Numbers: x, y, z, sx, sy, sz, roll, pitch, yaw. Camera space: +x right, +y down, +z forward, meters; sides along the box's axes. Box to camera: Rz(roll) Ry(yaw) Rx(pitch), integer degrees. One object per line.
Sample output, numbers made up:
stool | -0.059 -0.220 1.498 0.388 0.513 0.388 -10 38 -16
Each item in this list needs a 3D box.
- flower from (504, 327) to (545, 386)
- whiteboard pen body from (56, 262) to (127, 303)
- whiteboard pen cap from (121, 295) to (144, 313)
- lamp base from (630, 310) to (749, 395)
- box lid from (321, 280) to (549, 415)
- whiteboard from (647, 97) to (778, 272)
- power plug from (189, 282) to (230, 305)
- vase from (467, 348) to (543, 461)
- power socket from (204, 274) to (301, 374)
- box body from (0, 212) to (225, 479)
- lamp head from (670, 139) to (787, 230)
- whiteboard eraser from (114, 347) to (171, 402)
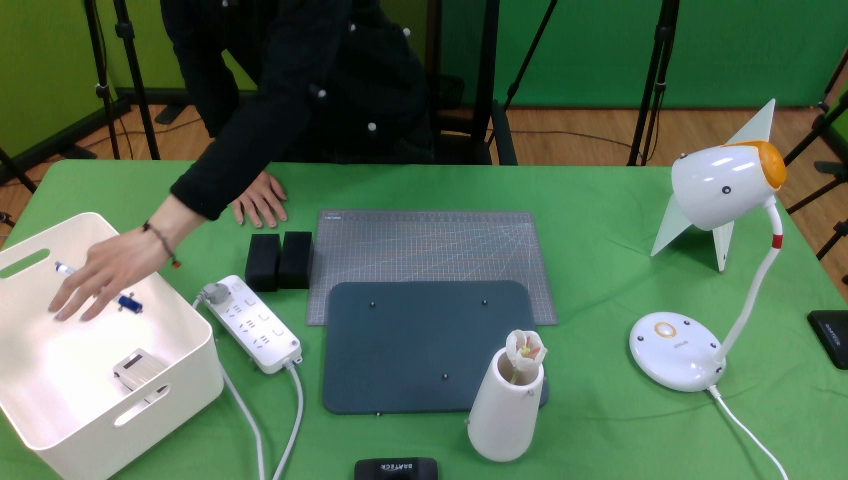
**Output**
flower | 0.114 0.189 0.790 0.044 0.363 0.038 33 69 18
whiteboard pen body | -0.483 0.068 0.899 0.140 0.017 0.017 25 49 6
whiteboard pen cap | -0.430 0.093 0.891 0.033 0.018 0.018 24 49 7
lamp base | 0.447 0.143 0.984 0.161 0.181 0.178 -24 55 -24
box lid | 0.013 0.174 1.040 0.372 0.015 0.261 0 47 -4
whiteboard | 0.602 -0.079 1.162 0.144 0.306 0.216 35 51 3
power plug | -0.368 0.097 1.038 0.072 0.053 0.035 -27 54 -21
vase | 0.115 0.235 0.860 0.098 0.201 0.097 1 47 -1
power socket | -0.297 0.140 1.035 0.072 0.033 0.225 -33 57 -29
box body | -0.506 0.155 0.915 0.362 0.161 0.254 35 54 26
lamp head | 0.415 -0.078 0.812 0.113 0.123 0.112 12 70 -37
whiteboard eraser | -0.420 0.215 0.937 0.112 0.042 0.055 25 48 21
